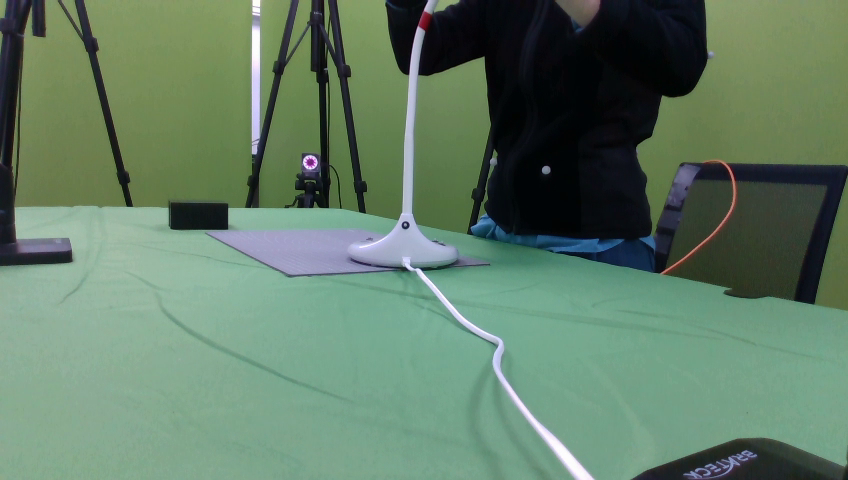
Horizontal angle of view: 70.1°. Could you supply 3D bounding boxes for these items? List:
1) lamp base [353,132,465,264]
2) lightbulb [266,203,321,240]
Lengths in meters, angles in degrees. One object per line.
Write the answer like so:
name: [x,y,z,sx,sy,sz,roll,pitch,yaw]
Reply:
lamp base: [-0.014,-0.062,0.850,0.161,0.180,0.178,-1,11,-20]
lightbulb: [-0.224,-0.026,1.031,0.059,0.059,0.108,8,24,38]
